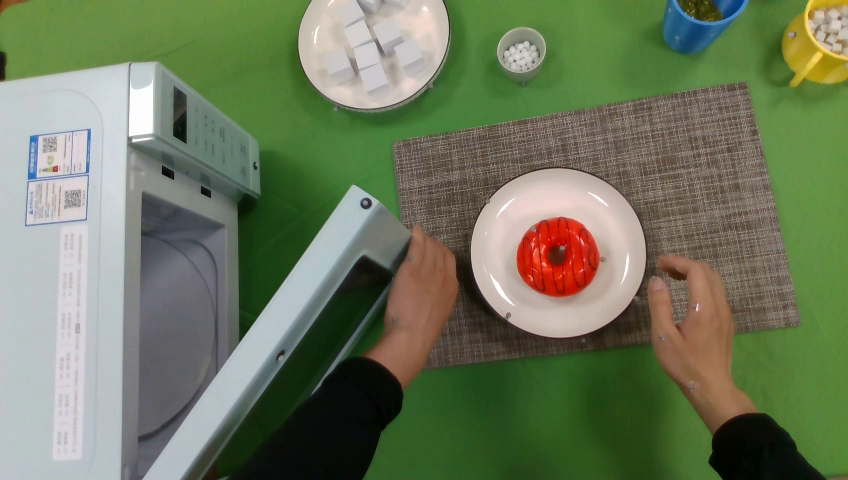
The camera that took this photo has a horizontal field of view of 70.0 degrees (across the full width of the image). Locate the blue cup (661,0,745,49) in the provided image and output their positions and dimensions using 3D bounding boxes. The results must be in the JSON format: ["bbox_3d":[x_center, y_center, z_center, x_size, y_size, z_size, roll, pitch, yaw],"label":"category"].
[{"bbox_3d":[0.325,-0.277,0.722,0.092,0.100,0.092,-1,82,8],"label":"blue cup"}]

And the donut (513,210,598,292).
[{"bbox_3d":[0.156,0.013,0.721,0.099,0.048,0.099,-1,84,10],"label":"donut"}]

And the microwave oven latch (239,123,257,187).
[{"bbox_3d":[-0.237,-0.112,0.797,0.030,0.029,0.079,-2,82,8],"label":"microwave oven latch"}]

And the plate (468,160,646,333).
[{"bbox_3d":[0.157,0.008,0.733,0.209,0.038,0.208,-1,81,9],"label":"plate"}]

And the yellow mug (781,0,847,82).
[{"bbox_3d":[0.475,-0.239,0.711,0.099,0.064,0.131,41,90,12],"label":"yellow mug"}]

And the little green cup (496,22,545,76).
[{"bbox_3d":[0.125,-0.243,0.781,0.061,0.039,0.061,-1,81,9],"label":"little green cup"}]

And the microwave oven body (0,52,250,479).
[{"bbox_3d":[-0.387,0.060,0.696,0.326,0.261,0.440,-5,81,8],"label":"microwave oven body"}]

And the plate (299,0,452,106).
[{"bbox_3d":[-0.063,-0.276,0.815,0.207,0.039,0.207,-1,81,9],"label":"plate"}]

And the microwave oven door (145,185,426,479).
[{"bbox_3d":[-0.133,0.117,0.643,0.039,0.245,0.355,35,88,14],"label":"microwave oven door"}]
